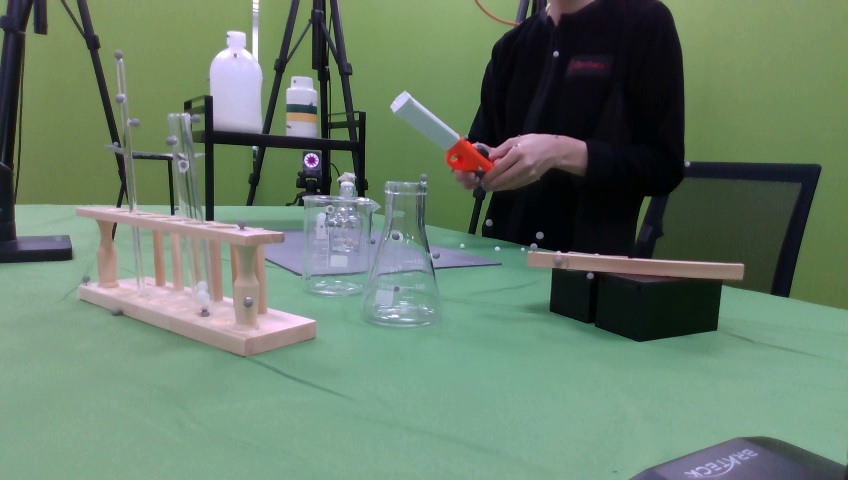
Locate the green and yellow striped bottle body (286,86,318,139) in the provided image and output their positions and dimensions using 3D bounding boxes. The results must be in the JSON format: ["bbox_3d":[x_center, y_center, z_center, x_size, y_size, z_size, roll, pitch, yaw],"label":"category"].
[{"bbox_3d":[-0.251,-0.270,1.245,0.063,0.119,0.063,2,7,0],"label":"green and yellow striped bottle body"}]

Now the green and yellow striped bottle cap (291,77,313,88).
[{"bbox_3d":[-0.249,-0.321,1.237,0.045,0.020,0.045,3,5,0],"label":"green and yellow striped bottle cap"}]

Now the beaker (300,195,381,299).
[{"bbox_3d":[-0.087,0.006,0.626,0.084,0.100,0.074,1,8,-17],"label":"beaker"}]

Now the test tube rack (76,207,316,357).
[{"bbox_3d":[-0.196,0.023,0.500,0.241,0.085,0.067,8,9,36],"label":"test tube rack"}]

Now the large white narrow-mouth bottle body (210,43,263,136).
[{"bbox_3d":[-0.369,-0.305,1.194,0.102,0.194,0.102,3,8,0],"label":"large white narrow-mouth bottle body"}]

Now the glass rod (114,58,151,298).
[{"bbox_3d":[-0.236,-0.044,0.492,0.008,0.199,0.008,0,15,0],"label":"glass rod"}]

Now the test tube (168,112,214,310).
[{"bbox_3d":[-0.175,-0.020,0.455,0.017,0.150,0.017,-4,9,1],"label":"test tube"}]

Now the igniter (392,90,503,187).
[{"bbox_3d":[0.047,-0.141,0.900,0.278,0.057,0.025,28,29,-51],"label":"igniter"}]

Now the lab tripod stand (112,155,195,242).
[{"bbox_3d":[-0.405,-0.064,0.931,0.148,0.131,0.148,1,6,0],"label":"lab tripod stand"}]

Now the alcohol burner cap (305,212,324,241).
[{"bbox_3d":[-0.185,-0.023,1.027,0.034,0.048,0.034,2,6,0],"label":"alcohol burner cap"}]

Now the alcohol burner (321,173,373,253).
[{"bbox_3d":[-0.115,-0.041,0.905,0.078,0.119,0.078,1,6,0],"label":"alcohol burner"}]

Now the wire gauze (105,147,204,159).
[{"bbox_3d":[-0.407,-0.131,0.928,0.125,0.011,0.121,2,6,-11],"label":"wire gauze"}]

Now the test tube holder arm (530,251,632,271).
[{"bbox_3d":[0.139,0.019,0.538,0.087,0.015,0.010,3,7,13],"label":"test tube holder arm"}]

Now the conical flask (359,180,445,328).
[{"bbox_3d":[-0.017,0.010,0.522,0.075,0.122,0.075,2,7,0],"label":"conical flask"}]

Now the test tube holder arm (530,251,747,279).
[{"bbox_3d":[0.182,0.022,0.523,0.178,0.015,0.013,3,7,12],"label":"test tube holder arm"}]

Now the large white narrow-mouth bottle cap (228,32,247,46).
[{"bbox_3d":[-0.364,-0.391,1.180,0.038,0.024,0.037,3,8,0],"label":"large white narrow-mouth bottle cap"}]
